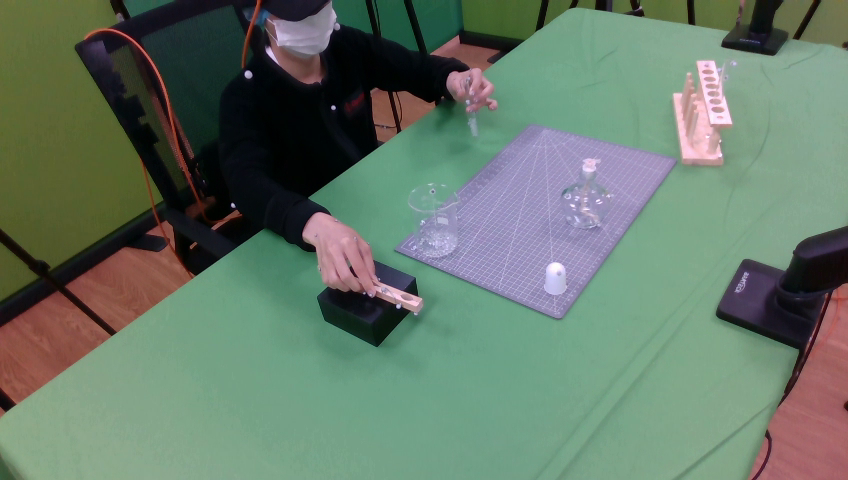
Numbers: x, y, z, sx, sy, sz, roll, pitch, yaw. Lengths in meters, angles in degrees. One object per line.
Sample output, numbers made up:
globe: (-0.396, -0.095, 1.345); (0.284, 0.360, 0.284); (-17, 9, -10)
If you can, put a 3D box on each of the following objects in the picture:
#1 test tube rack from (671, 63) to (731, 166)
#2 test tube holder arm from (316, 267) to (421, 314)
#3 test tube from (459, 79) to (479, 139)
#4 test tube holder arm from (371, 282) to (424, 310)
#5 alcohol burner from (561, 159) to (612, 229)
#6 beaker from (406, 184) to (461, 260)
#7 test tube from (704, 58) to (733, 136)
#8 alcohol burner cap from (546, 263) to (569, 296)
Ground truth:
test tube rack: (0.513, -0.240, 1.132); (0.066, 0.085, 0.242); (4, 41, 14)
test tube holder arm: (-0.080, 0.068, 0.836); (0.177, 0.015, 0.013); (16, 36, 27)
test tube: (0.086, -0.240, 1.129); (0.017, 0.151, 0.017); (-7, 57, 11)
test tube holder arm: (-0.039, 0.076, 0.819); (0.087, 0.015, 0.010); (16, 37, 28)
alcohol burner: (0.257, -0.077, 0.951); (0.078, 0.119, 0.077); (-3, 40, 3)
beaker: (0.019, -0.026, 0.939); (0.084, 0.101, 0.074); (1, 41, 9)
test tube: (0.516, -0.247, 1.062); (0.017, 0.151, 0.017); (-3, 43, 4)
alcohol burner cap: (0.191, 0.053, 0.862); (0.034, 0.048, 0.033); (-5, 40, 4)
